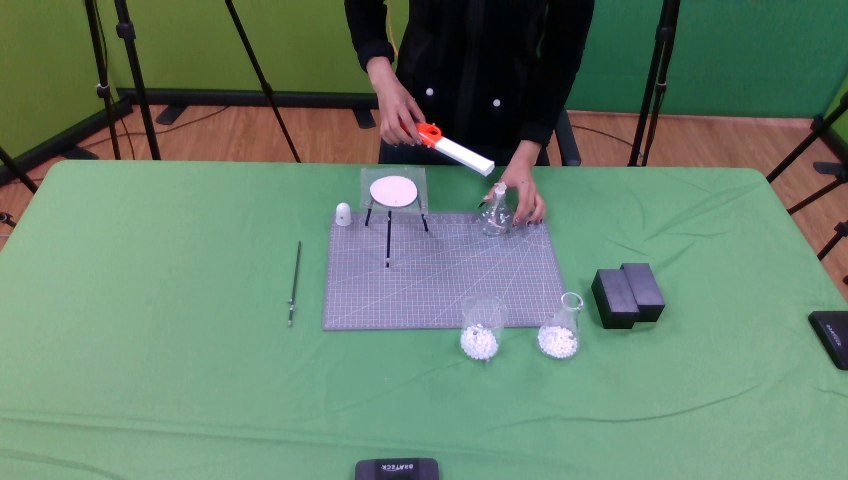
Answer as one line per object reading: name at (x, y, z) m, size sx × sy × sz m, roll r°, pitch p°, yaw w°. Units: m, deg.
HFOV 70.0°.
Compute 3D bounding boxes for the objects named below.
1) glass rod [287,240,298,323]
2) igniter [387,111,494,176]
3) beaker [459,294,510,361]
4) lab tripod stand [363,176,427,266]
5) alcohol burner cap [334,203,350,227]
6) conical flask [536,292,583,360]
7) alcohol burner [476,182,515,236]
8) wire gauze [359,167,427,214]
glass rod at (-0.242, 0.072, 1.119) m, size 0.008 × 0.008 × 0.198 m, roll -1°, pitch 47°, yaw -5°
igniter at (0.024, -0.198, 1.214) m, size 0.275 × 0.025 × 0.057 m, roll 33°, pitch 62°, yaw 30°
beaker at (0.095, 0.147, 1.012) m, size 0.083 × 0.101 × 0.074 m, roll 26°, pitch 49°, yaw 21°
lab tripod stand at (-0.058, -0.047, 1.159) m, size 0.148 × 0.132 × 0.147 m, roll 3°, pitch 44°, yaw -2°
alcohol burner cap at (-0.166, -0.054, 1.220) m, size 0.034 × 0.048 × 0.033 m, roll 2°, pitch 46°, yaw -2°
conical flask at (0.234, 0.139, 1.015) m, size 0.075 × 0.122 × 0.075 m, roll 2°, pitch 46°, yaw -2°
alcohol burner at (0.145, -0.066, 1.208) m, size 0.078 × 0.120 × 0.077 m, roll 2°, pitch 44°, yaw -2°
wire gauze at (-0.058, -0.093, 1.110) m, size 0.125 × 0.011 × 0.120 m, roll 2°, pitch 45°, yaw -5°
